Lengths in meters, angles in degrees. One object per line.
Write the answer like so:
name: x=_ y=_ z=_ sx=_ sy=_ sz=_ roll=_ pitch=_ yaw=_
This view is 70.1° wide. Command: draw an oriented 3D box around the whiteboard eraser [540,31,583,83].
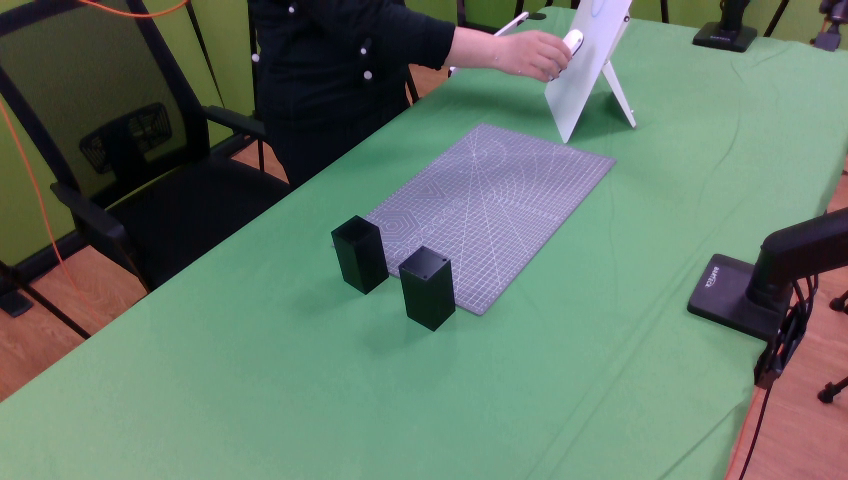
whiteboard eraser: x=0.248 y=-0.332 z=1.096 sx=0.019 sy=0.101 sz=0.041 roll=22 pitch=30 yaw=-30

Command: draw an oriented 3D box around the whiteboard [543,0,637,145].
whiteboard: x=0.366 y=-0.352 z=1.160 sx=0.144 sy=0.306 sz=0.216 roll=9 pitch=39 yaw=-9
